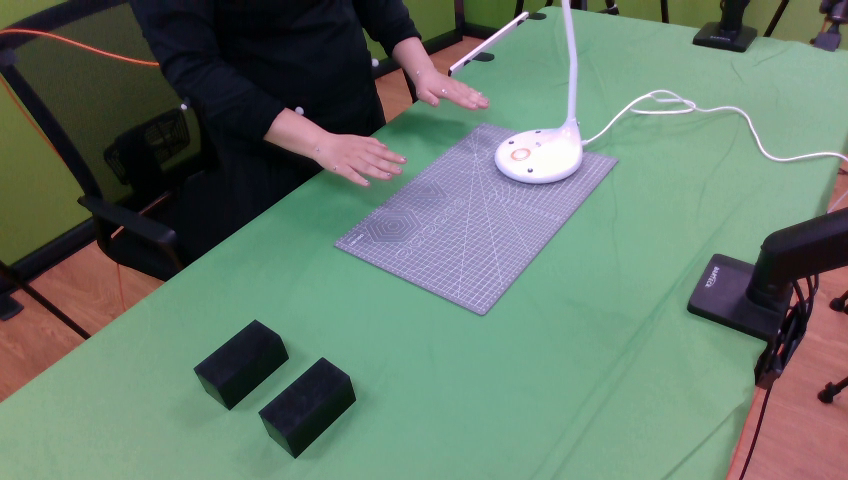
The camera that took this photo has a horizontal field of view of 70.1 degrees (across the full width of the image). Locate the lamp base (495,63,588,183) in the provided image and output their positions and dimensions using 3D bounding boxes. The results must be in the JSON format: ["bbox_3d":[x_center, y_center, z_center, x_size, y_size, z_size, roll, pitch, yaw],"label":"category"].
[{"bbox_3d":[0.214,-0.217,1.067,0.180,0.181,0.159,-20,42,-18],"label":"lamp base"}]
